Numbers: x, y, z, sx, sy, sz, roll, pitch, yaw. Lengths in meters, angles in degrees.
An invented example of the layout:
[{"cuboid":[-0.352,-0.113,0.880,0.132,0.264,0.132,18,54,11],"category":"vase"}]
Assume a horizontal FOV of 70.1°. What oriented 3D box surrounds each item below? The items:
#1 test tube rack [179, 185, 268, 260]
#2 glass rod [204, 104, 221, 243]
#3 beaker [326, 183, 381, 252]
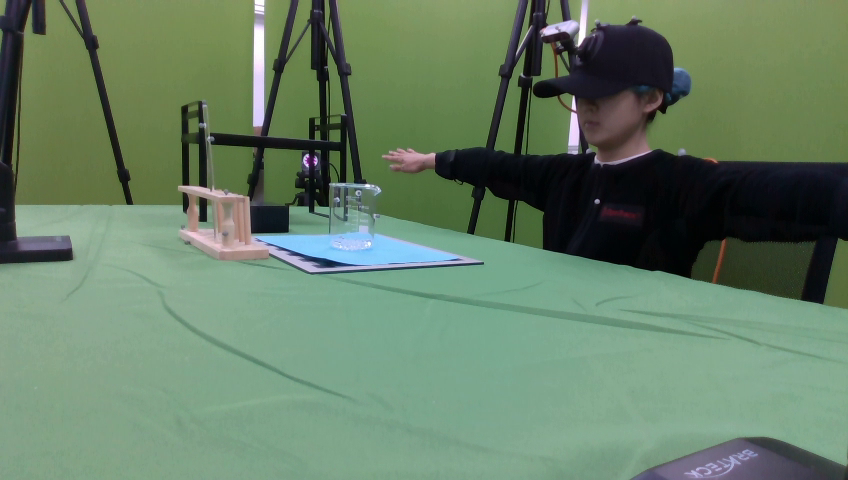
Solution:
[{"cuboid":[-0.303,-0.032,0.898,0.067,0.085,0.241,-2,9,-33],"category":"test tube rack"},{"cuboid":[-0.299,-0.091,0.851,0.008,0.199,0.008,-5,1,0],"category":"glass rod"},{"cuboid":[-0.108,-0.035,0.921,0.084,0.100,0.074,5,8,15],"category":"beaker"}]
